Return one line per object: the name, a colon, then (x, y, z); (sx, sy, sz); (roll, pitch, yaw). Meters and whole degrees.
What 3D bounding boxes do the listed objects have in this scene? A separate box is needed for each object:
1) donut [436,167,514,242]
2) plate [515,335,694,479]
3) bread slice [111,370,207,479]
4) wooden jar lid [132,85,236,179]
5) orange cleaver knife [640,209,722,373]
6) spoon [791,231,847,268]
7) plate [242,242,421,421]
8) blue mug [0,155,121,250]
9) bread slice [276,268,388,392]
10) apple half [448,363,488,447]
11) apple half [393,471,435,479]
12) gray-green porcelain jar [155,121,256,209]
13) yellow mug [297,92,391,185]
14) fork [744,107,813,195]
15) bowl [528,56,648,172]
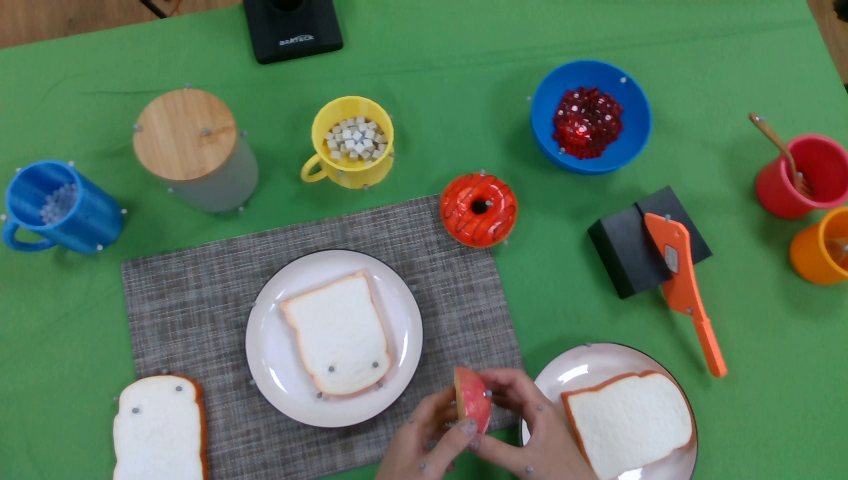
donut: (0.064, -0.045, 0.762); (0.099, 0.048, 0.098); (1, 77, -3)
plate: (0.208, 0.219, 0.712); (0.209, 0.038, 0.208); (1, 76, -2)
bread slice: (-0.305, 0.216, 0.692); (0.105, 0.019, 0.131); (-5, 78, -5)
wooden jar lid: (-0.259, -0.115, 0.658); (0.108, 0.021, 0.108); (1, 74, -2)
orange cleaver knife: (0.310, 0.060, 0.734); (0.012, 0.077, 0.212); (-24, 100, -15)
spoon: (0.548, -0.016, 0.731); (0.022, 0.193, 0.041); (-4, 69, -51)
plate: (-0.107, 0.107, 0.719); (0.208, 0.039, 0.206); (1, 76, -3)
blue mug: (-0.430, -0.031, 0.703); (0.116, 0.106, 0.082); (-39, 80, -11)
bread slice: (-0.101, 0.110, 0.720); (0.107, 0.018, 0.133); (-24, 78, -8)
apple half: (0.046, 0.157, 0.587); (0.033, 0.081, 0.081); (-9, 76, -4)
apple half: (-0.013, 0.301, 0.673); (0.074, 0.053, 0.080); (40, 78, 8)
gray-green porcelain jar: (-0.261, -0.099, 0.719); (0.106, 0.127, 0.105); (1, 76, -3)
yellow mug: (-0.104, -0.118, 0.763); (0.131, 0.064, 0.099); (-37, 81, -10)
fork: (0.441, -0.108, 0.748); (0.209, 0.018, 0.028); (30, 70, -38)
bowl: (0.201, -0.150, 0.781); (0.151, 0.077, 0.150); (1, 77, -3)
